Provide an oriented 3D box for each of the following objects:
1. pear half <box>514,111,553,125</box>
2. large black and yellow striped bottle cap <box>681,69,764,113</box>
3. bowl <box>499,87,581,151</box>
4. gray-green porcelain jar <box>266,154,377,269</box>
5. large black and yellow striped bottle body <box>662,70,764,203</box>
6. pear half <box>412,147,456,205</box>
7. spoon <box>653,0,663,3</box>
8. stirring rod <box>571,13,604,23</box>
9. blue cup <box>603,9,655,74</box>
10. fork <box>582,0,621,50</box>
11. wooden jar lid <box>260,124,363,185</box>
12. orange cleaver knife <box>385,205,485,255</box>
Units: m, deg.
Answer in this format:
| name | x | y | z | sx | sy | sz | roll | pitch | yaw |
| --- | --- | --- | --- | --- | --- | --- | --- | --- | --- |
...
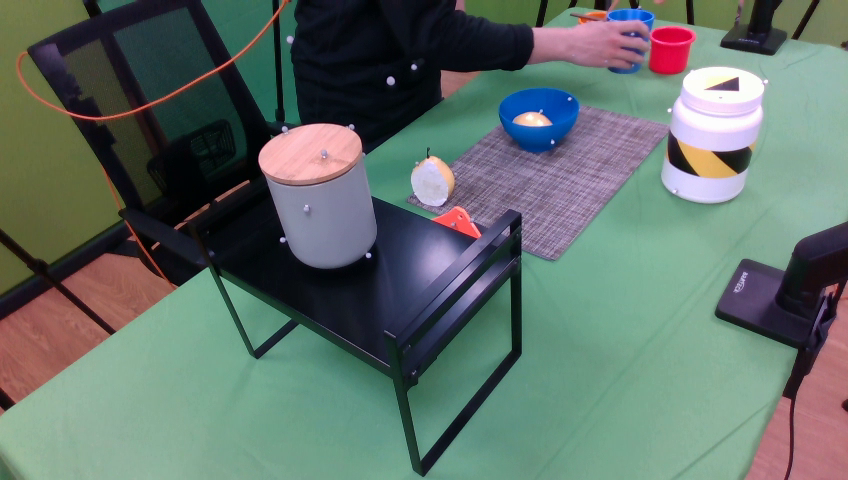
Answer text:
| name | x | y | z | sx | sy | sz | roll | pitch | yaw |
| --- | --- | --- | --- | --- | --- | --- | --- | --- | --- |
| pear half | 0.214 | -0.226 | 1.149 | 0.087 | 0.031 | 0.070 | 12 | 49 | 14 |
| large black and yellow striped bottle cap | 0.453 | -0.229 | 0.921 | 0.115 | 0.019 | 0.114 | -4 | 39 | 4 |
| bowl | 0.220 | -0.223 | 1.156 | 0.151 | 0.077 | 0.150 | -4 | 40 | 4 |
| gray-green porcelain jar | -0.112 | -0.039 | 0.685 | 0.106 | 0.127 | 0.105 | -4 | 40 | 4 |
| large black and yellow striped bottle body | 0.464 | -0.166 | 0.976 | 0.131 | 0.185 | 0.130 | -5 | 41 | 5 |
| pear half | 0.019 | -0.120 | 1.042 | 0.076 | 0.110 | 0.056 | 11 | 44 | 16 |
| spoon | 0.467 | -0.554 | 1.157 | 0.022 | 0.194 | 0.041 | -1 | 13 | -22 |
| stirring rod | 0.419 | -0.508 | 1.404 | 0.174 | 0.006 | 0.014 | 28 | 55 | 35 |
| blue cup | 0.375 | -0.368 | 1.131 | 0.092 | 0.100 | 0.092 | -3 | 36 | 2 |
| fork | 0.446 | -0.539 | 1.437 | 0.207 | 0.019 | 0.028 | -57 | 35 | 12 |
| wooden jar lid | -0.119 | -0.088 | 0.645 | 0.108 | 0.021 | 0.108 | -4 | 40 | 4 |
| orange cleaver knife | 0.012 | -0.010 | 0.942 | 0.012 | 0.077 | 0.210 | -36 | 19 | -35 |
